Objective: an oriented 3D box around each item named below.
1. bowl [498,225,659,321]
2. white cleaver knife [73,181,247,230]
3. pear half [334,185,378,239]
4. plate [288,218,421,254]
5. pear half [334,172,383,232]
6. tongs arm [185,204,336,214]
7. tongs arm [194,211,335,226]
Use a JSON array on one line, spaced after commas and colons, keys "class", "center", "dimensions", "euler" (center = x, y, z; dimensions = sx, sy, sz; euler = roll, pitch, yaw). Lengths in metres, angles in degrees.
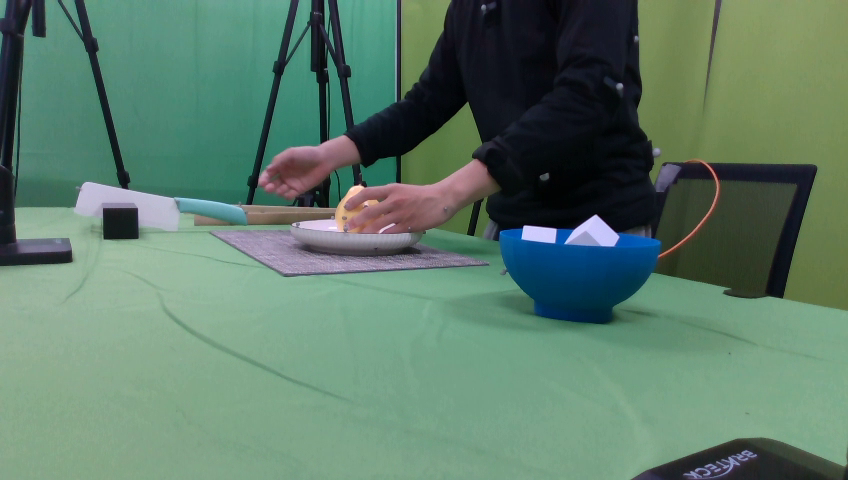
[{"class": "bowl", "center": [0.144, 0.031, 0.585], "dimensions": [0.151, 0.077, 0.151], "euler": [2, 7, 0]}, {"class": "white cleaver knife", "center": [-0.465, -0.052, 1.090], "dimensions": [0.288, 0.066, 0.021], "euler": [9, 7, -30]}, {"class": "pear half", "center": [-0.112, -0.045, 0.974], "dimensions": [0.071, 0.088, 0.031], "euler": [-5, 12, -24]}, {"class": "plate", "center": [-0.109, -0.007, 0.956], "dimensions": [0.208, 0.039, 0.207], "euler": [2, 7, 0]}, {"class": "pear half", "center": [-0.099, -0.050, 0.940], "dimensions": [0.077, 0.110, 0.055], "euler": [-6, 10, -23]}, {"class": "tongs arm", "center": [-0.337, -0.065, 1.377], "dimensions": [0.387, 0.026, 0.050], "euler": [0, 9, -25]}, {"class": "tongs arm", "center": [-0.298, -0.049, 1.307], "dimensions": [0.390, 0.028, 0.028], "euler": [-3, 7, -38]}]
